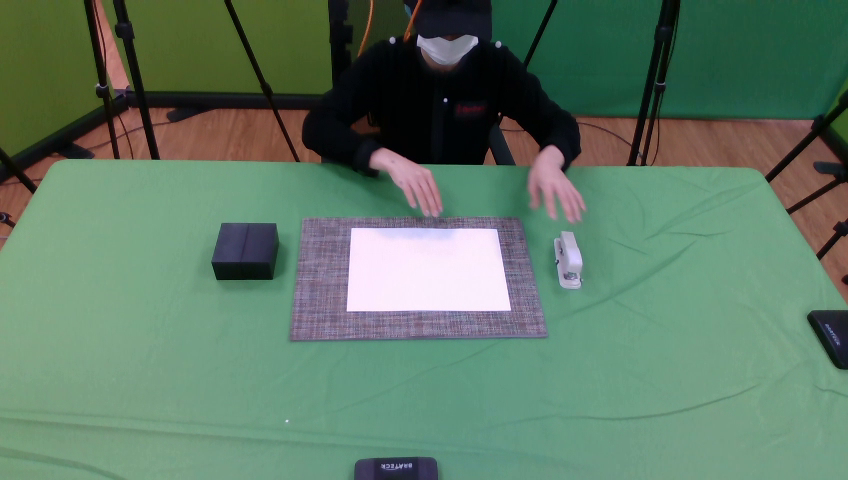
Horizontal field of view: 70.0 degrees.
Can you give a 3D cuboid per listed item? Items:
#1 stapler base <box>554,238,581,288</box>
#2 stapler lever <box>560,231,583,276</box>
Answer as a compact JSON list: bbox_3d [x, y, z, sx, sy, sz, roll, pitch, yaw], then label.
[{"bbox_3d":[0.282,0.038,1.181,0.041,0.024,0.130,6,44,-2],"label":"stapler base"},{"bbox_3d":[0.283,0.018,1.165,0.027,0.040,0.117,5,44,-2],"label":"stapler lever"}]
